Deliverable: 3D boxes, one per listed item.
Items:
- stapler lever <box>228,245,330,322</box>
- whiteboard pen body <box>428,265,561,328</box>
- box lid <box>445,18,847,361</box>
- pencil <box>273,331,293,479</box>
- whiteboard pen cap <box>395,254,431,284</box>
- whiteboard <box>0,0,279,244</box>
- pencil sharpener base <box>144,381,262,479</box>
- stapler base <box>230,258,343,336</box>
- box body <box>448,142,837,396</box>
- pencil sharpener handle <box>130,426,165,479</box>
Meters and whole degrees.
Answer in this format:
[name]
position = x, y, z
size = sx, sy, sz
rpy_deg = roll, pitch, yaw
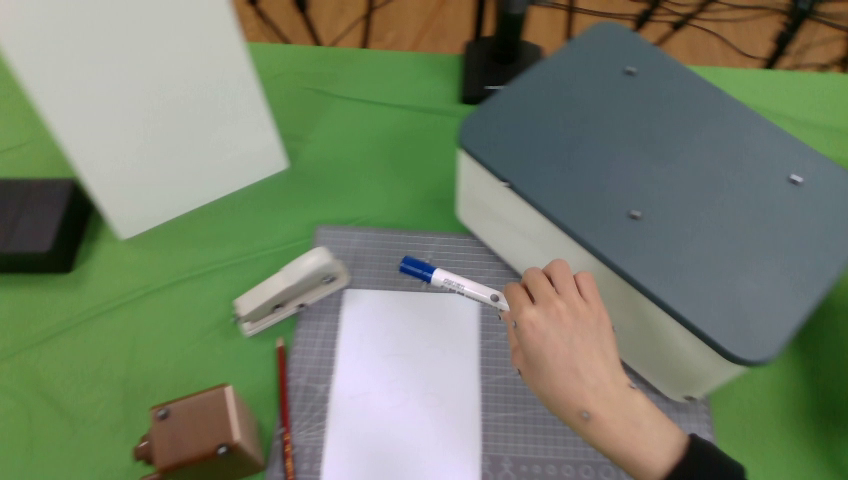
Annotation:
[stapler lever]
position = -0.158, 0.046, 0.661
size = 0.118, 0.040, 0.026
rpy_deg = -29, 59, -14
[whiteboard pen body]
position = 0.046, 0.043, 0.508
size = 0.140, 0.017, 0.017
rpy_deg = 20, 60, 16
[box lid]
position = 0.228, -0.079, 0.608
size = 0.369, 0.015, 0.263
rpy_deg = 41, 66, 20
[pencil]
position = -0.144, 0.181, 0.618
size = 0.012, 0.012, 0.192
rpy_deg = -10, 60, -7
[whiteboard pen cap]
position = -0.007, 0.026, 0.524
size = 0.033, 0.018, 0.018
rpy_deg = 20, 60, 16
[whiteboard]
position = -0.337, -0.190, 0.699
size = 0.217, 0.308, 0.142
rpy_deg = -28, 44, -16
[pencil sharpener base]
position = -0.202, 0.184, 0.560
size = 0.077, 0.108, 0.061
rpy_deg = -17, 61, -11
[stapler base]
position = -0.156, 0.058, 0.683
size = 0.130, 0.024, 0.041
rpy_deg = -29, 60, -14
[box body]
position = 0.228, -0.040, 0.671
size = 0.361, 0.161, 0.254
rpy_deg = 41, 66, 20
[pencil sharpener handle]
position = -0.249, 0.195, 0.537
size = 0.031, 0.068, 0.035
rpy_deg = -17, 44, -11
